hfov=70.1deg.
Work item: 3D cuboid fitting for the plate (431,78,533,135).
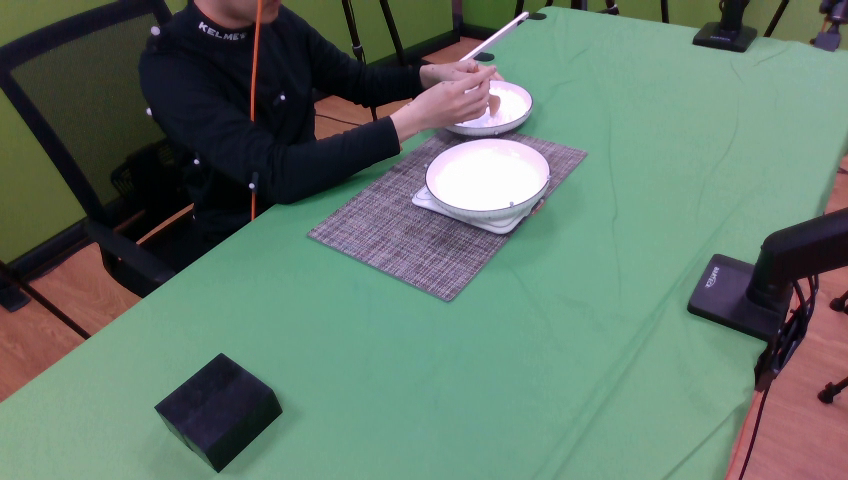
[{"bbox_3d":[0.120,-0.271,1.249,0.209,0.038,0.208,-4,40,4],"label":"plate"}]

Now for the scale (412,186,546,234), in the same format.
[{"bbox_3d":[0.093,-0.083,1.038,0.199,0.032,0.149,22,48,30],"label":"scale"}]

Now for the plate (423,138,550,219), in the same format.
[{"bbox_3d":[0.104,-0.099,1.005,0.207,0.039,0.206,-4,41,4],"label":"plate"}]

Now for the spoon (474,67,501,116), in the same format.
[{"bbox_3d":[0.117,-0.283,1.148,0.021,0.195,0.041,31,91,23],"label":"spoon"}]
